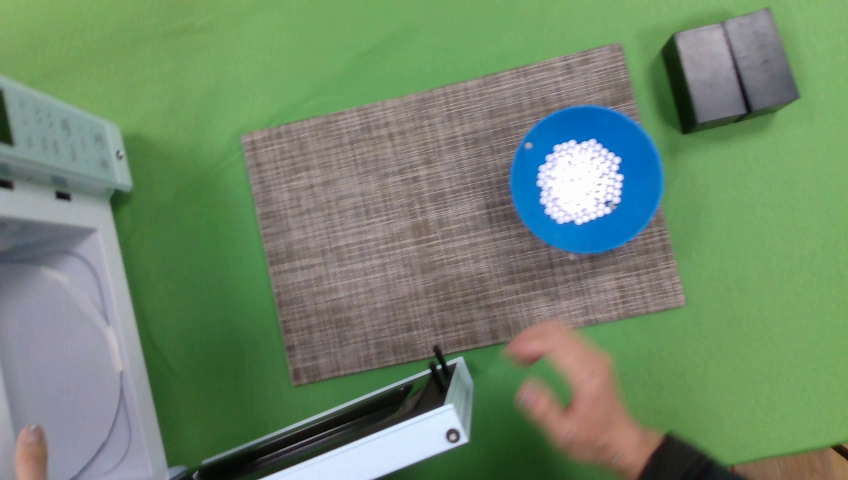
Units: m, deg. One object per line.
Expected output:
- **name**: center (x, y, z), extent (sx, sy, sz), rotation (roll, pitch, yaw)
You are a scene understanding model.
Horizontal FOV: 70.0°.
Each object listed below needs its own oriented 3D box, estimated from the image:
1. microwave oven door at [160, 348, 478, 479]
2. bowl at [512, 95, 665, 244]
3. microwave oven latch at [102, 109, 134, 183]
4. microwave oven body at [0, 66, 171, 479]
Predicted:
- **microwave oven door**: center (-0.121, 0.198, 0.561), extent (0.356, 0.244, 0.039), rotation (-23, 85, 4)
- **bowl**: center (0.166, -0.069, 0.638), extent (0.151, 0.077, 0.151), rotation (0, 88, 5)
- **microwave oven latch**: center (-0.358, -0.107, 0.693), extent (0.030, 0.029, 0.079), rotation (-15, 88, 4)
- **microwave oven body**: center (-0.469, 0.096, 0.599), extent (0.326, 0.260, 0.441), rotation (-14, 87, 4)
